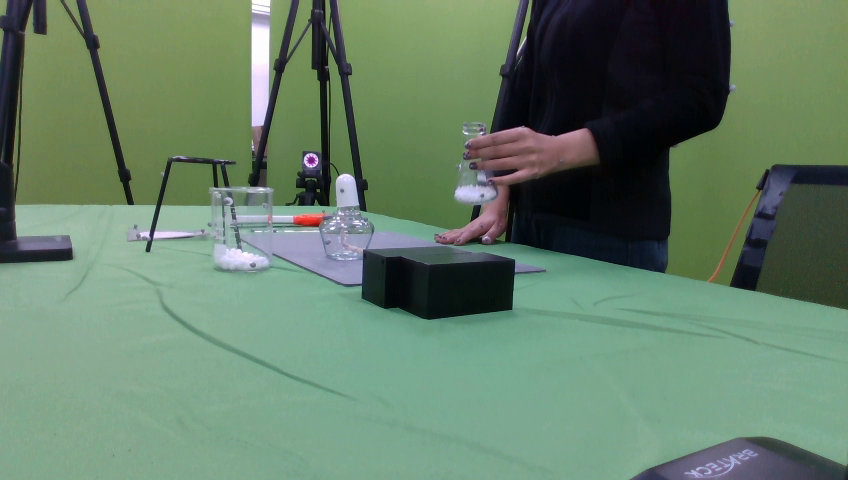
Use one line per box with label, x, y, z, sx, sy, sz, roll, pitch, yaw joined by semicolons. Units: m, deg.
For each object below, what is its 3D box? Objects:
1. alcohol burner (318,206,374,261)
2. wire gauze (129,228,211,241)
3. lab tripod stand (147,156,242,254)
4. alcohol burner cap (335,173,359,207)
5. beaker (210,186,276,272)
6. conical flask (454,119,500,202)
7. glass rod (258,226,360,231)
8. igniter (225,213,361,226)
alcohol burner;-0.107;-0.032;0.833;0.078;0.119;0.078;1;6;0
wire gauze;-0.419;-0.010;0.999;0.122;0.011;0.124;0;6;-25
lab tripod stand;-0.310;-0.050;0.858;0.148;0.131;0.148;4;6;0
alcohol burner cap;-0.108;-0.068;0.829;0.034;0.048;0.034;-7;4;1
beaker;-0.224;-0.014;0.738;0.084;0.100;0.074;4;7;16
conical flask;0.082;-0.128;0.958;0.075;0.122;0.075;-4;29;2
glass rod;-0.215;-0.022;1.151;0.201;0.008;0.008;-2;8;-27
igniter;-0.257;-0.042;1.221;0.278;0.025;0.057;-2;-2;-32
